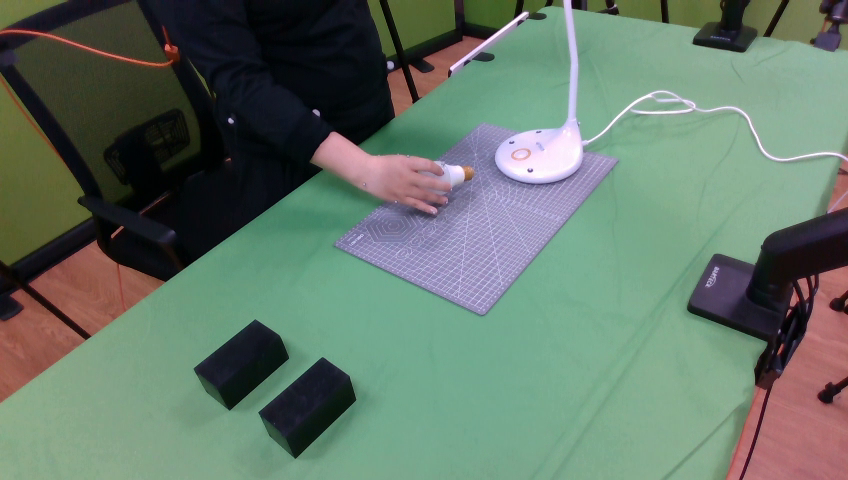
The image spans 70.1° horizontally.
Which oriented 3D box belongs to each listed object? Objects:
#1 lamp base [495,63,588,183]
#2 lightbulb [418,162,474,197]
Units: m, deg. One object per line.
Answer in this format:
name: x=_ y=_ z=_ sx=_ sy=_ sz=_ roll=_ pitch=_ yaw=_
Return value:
lamp base: x=0.215 y=-0.217 z=1.067 sx=0.180 sy=0.181 sz=0.159 roll=-19 pitch=42 yaw=-18
lightbulb: x=0.041 y=-0.107 z=1.040 sx=0.108 sy=0.059 sz=0.059 roll=-14 pitch=38 yaw=-31
